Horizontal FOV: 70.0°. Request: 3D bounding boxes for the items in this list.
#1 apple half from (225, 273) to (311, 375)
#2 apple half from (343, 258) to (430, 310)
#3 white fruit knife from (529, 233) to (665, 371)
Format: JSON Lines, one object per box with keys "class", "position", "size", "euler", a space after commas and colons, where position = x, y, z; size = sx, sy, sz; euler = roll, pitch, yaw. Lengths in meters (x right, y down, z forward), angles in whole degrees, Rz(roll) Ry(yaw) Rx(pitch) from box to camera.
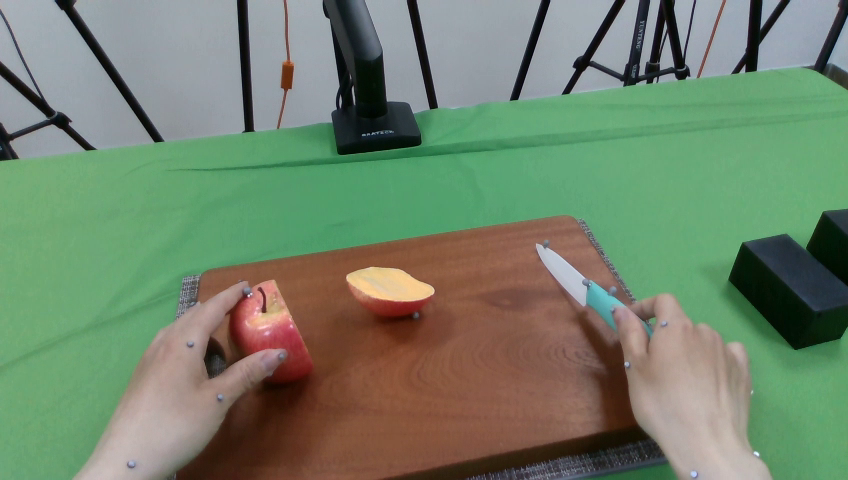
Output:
{"class": "apple half", "position": [-0.131, 0.075, 0.492], "size": [0.053, 0.075, 0.080], "euler": [-26, 52, -16]}
{"class": "apple half", "position": [-0.039, 0.045, 0.549], "size": [0.081, 0.033, 0.081], "euler": [12, 19, -4]}
{"class": "white fruit knife", "position": [0.146, 0.042, 0.544], "size": [0.016, 0.027, 0.205], "euler": [14, 21, -30]}
